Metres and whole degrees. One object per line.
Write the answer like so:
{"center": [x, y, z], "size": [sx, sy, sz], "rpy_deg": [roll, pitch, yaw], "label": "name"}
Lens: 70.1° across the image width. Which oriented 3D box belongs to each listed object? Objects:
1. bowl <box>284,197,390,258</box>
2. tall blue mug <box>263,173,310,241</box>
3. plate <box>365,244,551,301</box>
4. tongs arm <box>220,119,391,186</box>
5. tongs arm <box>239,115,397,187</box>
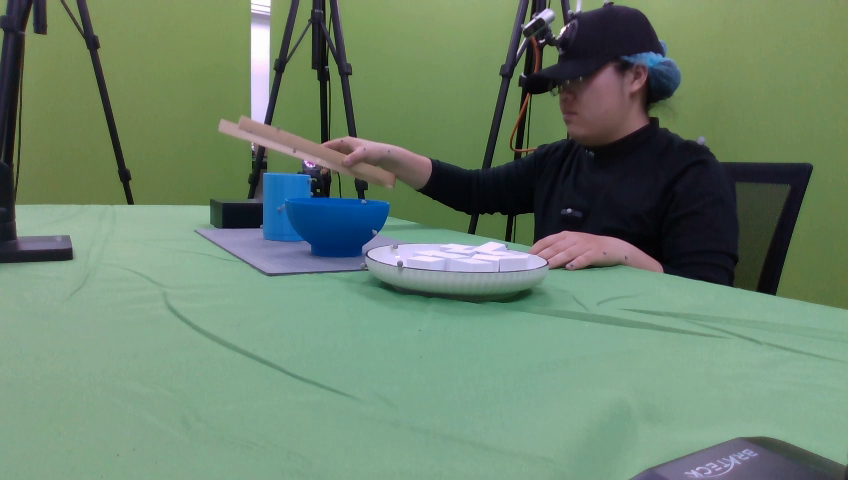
{"center": [-0.125, -0.018, 0.870], "size": [0.151, 0.077, 0.151], "rpy_deg": [2, 7, 0], "label": "bowl"}
{"center": [-0.233, -0.058, 1.019], "size": [0.078, 0.108, 0.107], "rpy_deg": [-1, 8, -19], "label": "tall blue mug"}
{"center": [0.038, 0.035, 0.685], "size": [0.209, 0.038, 0.209], "rpy_deg": [2, 7, 0], "label": "plate"}
{"center": [-0.232, -0.176, 1.260], "size": [0.390, 0.027, 0.028], "rpy_deg": [16, -11, -35], "label": "tongs arm"}
{"center": [-0.198, -0.172, 1.219], "size": [0.387, 0.026, 0.050], "rpy_deg": [16, -8, -40], "label": "tongs arm"}
